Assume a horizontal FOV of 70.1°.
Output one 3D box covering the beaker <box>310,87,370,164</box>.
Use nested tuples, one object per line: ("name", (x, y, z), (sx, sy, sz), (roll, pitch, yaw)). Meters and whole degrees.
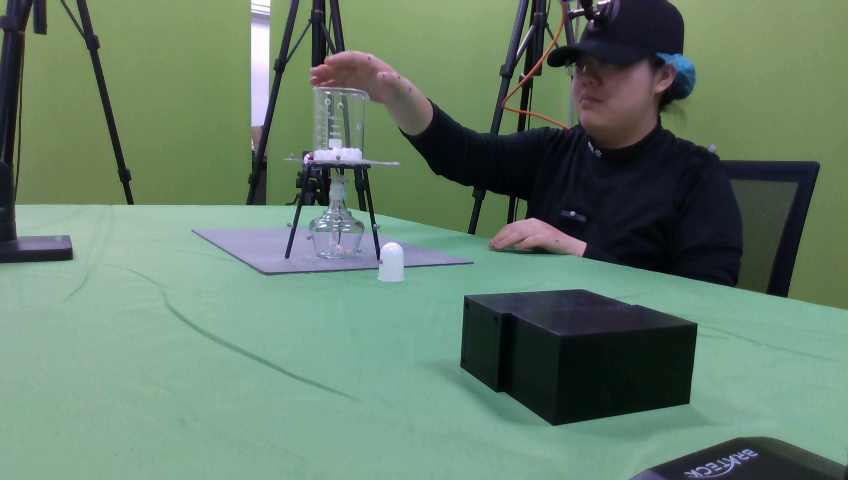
("beaker", (-0.116, -0.156, 0.833), (0.084, 0.100, 0.073), (-2, 10, -29))

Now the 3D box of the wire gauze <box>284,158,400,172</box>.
("wire gauze", (-0.116, -0.108, 0.835), (0.126, 0.011, 0.121), (0, 10, -31))

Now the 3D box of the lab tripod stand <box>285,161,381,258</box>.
("lab tripod stand", (-0.123, -0.043, 0.842), (0.148, 0.131, 0.148), (2, 9, 0))

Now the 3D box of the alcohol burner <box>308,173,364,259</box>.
("alcohol burner", (-0.121, -0.033, 0.843), (0.078, 0.119, 0.078), (3, 5, 0))

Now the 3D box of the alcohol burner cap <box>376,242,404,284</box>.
("alcohol burner cap", (-0.039, 0.026, 0.709), (0.034, 0.048, 0.034), (3, 6, 0))
